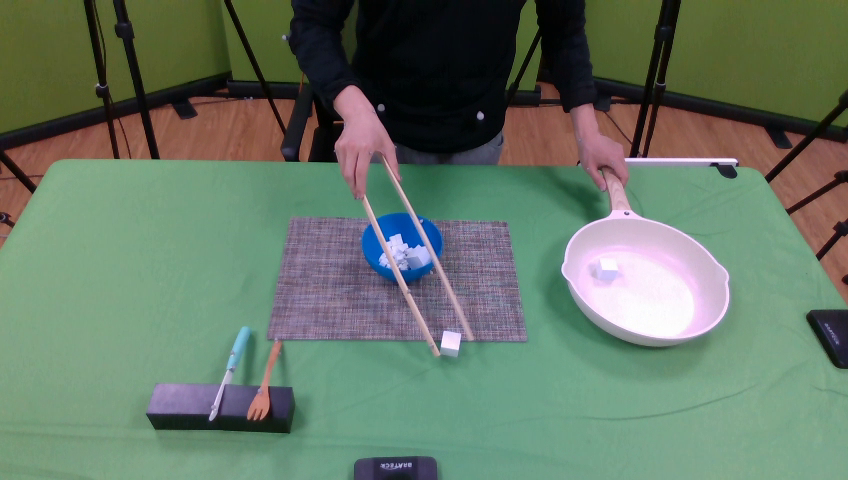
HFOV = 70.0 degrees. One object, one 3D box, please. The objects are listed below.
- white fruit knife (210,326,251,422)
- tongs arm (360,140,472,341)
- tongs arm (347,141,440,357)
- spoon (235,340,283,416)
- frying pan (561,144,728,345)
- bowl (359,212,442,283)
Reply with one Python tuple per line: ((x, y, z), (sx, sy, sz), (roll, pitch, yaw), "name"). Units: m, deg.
((-0.300, 0.201, 0.941), (0.016, 0.027, 0.206), (-2, 32, 1), "white fruit knife")
((-0.012, -0.003, 1.029), (0.028, 0.028, 0.386), (-26, 83, -11), "tongs arm")
((-0.046, 0.011, 1.019), (0.051, 0.026, 0.384), (-26, 83, -15), "tongs arm")
((-0.244, 0.207, 0.932), (0.042, 0.022, 0.193), (27, 25, -8), "spoon")
((0.397, -0.008, 1.179), (0.307, 0.103, 0.485), (2, 55, -4), "frying pan")
((-0.044, 0.026, 1.125), (0.151, 0.077, 0.150), (2, 46, -2), "bowl")
